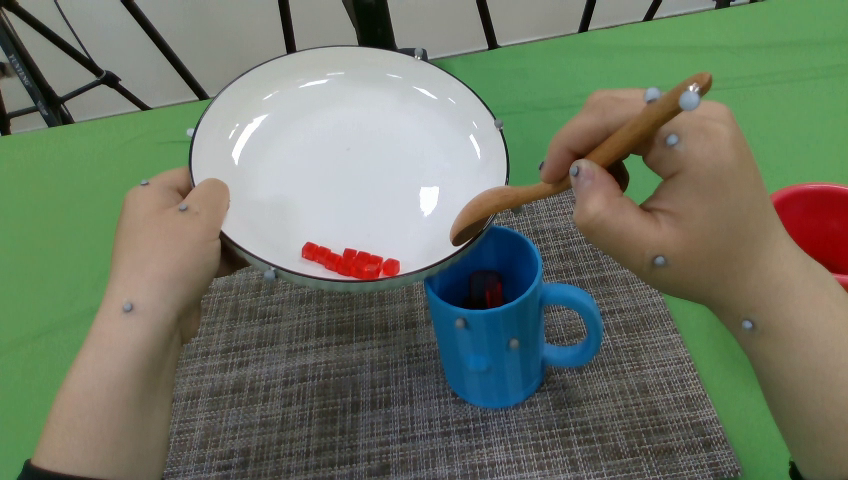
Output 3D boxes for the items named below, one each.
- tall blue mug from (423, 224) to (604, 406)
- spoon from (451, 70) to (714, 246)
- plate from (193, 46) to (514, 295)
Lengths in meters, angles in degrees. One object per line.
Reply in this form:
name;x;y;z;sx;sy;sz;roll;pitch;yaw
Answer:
tall blue mug;0.060;0.050;0.417;0.107;0.109;0.077;-14;43;-2
spoon;0.059;-0.028;0.281;0.041;0.193;0.021;-35;94;-26
plate;-0.045;-0.050;0.412;0.208;0.039;0.205;3;56;-4
